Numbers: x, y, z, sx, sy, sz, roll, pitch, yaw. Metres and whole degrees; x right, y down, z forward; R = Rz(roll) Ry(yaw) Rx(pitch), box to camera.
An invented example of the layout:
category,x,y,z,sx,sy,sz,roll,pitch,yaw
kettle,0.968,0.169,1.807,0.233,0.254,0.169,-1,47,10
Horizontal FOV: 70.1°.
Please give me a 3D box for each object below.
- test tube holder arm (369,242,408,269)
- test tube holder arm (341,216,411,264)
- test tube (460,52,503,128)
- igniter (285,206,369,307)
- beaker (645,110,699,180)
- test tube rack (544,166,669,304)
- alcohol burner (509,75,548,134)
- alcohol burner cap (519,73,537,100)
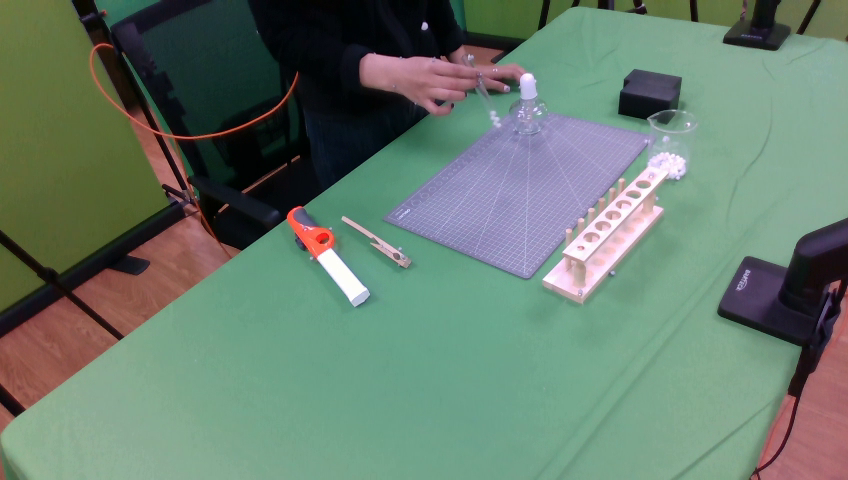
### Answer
category,x,y,z,sx,sy,sz,roll,pitch,yaw
test tube holder arm,-0.057,0.021,0.971,0.087,0.015,0.010,34,87,40
test tube holder arm,-0.083,-0.002,1.000,0.177,0.015,0.013,33,86,40
test tube,0.098,-0.245,1.002,0.017,0.151,0.017,-20,41,19
igniter,-0.166,0.018,0.986,0.057,0.025,0.274,-34,45,-12
beaker,0.417,-0.160,1.032,0.083,0.101,0.074,25,51,35
test tube rack,0.274,-0.018,0.903,0.066,0.085,0.243,26,51,35
alcohol burner,0.204,-0.270,1.186,0.078,0.119,0.077,-5,42,5
alcohol burner cap,0.198,-0.298,1.163,0.034,0.048,0.033,-9,37,8
